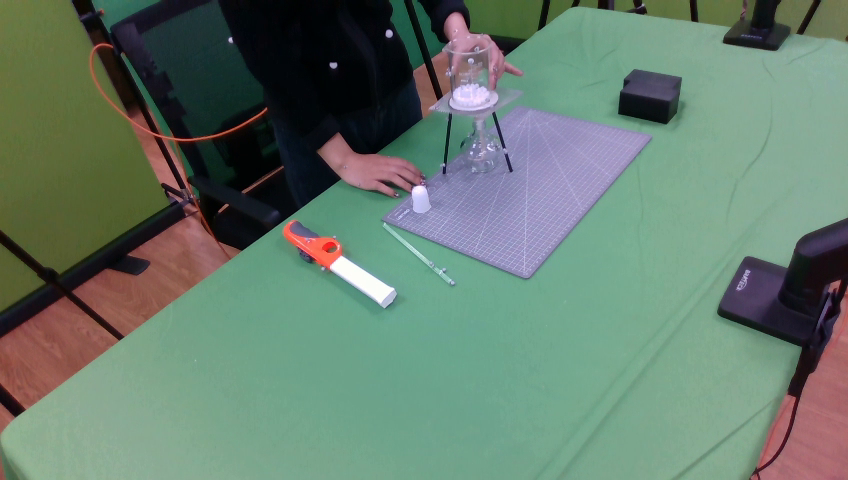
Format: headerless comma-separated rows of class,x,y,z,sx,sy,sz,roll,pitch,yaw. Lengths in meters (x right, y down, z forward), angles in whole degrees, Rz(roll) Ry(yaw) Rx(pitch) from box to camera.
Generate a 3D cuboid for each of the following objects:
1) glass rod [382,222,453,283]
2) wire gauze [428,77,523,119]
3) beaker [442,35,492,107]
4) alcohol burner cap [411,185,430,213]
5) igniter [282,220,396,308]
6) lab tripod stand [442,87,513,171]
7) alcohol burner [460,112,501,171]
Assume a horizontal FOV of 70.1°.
glass rod,-0.014,0.016,0.976,0.008,0.008,0.198,-30,44,-22
wire gauze,0.090,-0.249,1.063,0.120,0.011,0.125,23,48,31
beaker,0.076,-0.286,1.032,0.084,0.101,0.073,0,39,8
alcohol burner cap,-0.008,-0.074,1.050,0.034,0.048,0.033,-4,40,4
igniter,-0.146,0.032,0.966,0.274,0.025,0.057,30,65,37
lab tripod stand,0.097,-0.200,1.108,0.148,0.132,0.147,-4,40,4
alcohol burner,0.103,-0.186,1.106,0.078,0.119,0.077,-4,42,4
